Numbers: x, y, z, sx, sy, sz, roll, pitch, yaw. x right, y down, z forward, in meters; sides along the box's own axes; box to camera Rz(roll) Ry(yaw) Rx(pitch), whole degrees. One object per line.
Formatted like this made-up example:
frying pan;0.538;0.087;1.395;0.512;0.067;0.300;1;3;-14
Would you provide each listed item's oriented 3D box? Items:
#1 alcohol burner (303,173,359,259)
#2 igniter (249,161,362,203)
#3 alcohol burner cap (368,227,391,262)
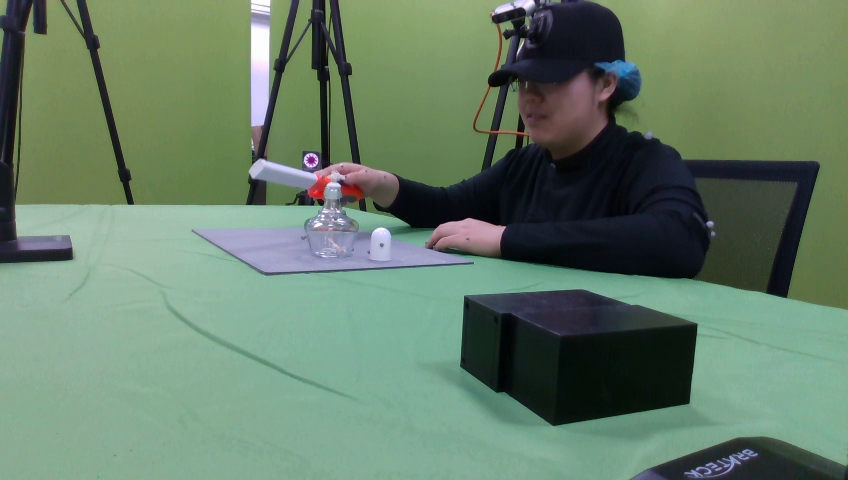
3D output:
alcohol burner;-0.130;-0.034;0.850;0.078;0.119;0.078;2;5;0
igniter;-0.187;-0.095;1.025;0.057;0.025;0.278;-39;-20;19
alcohol burner cap;-0.060;0.006;0.836;0.034;0.048;0.034;3;7;0
